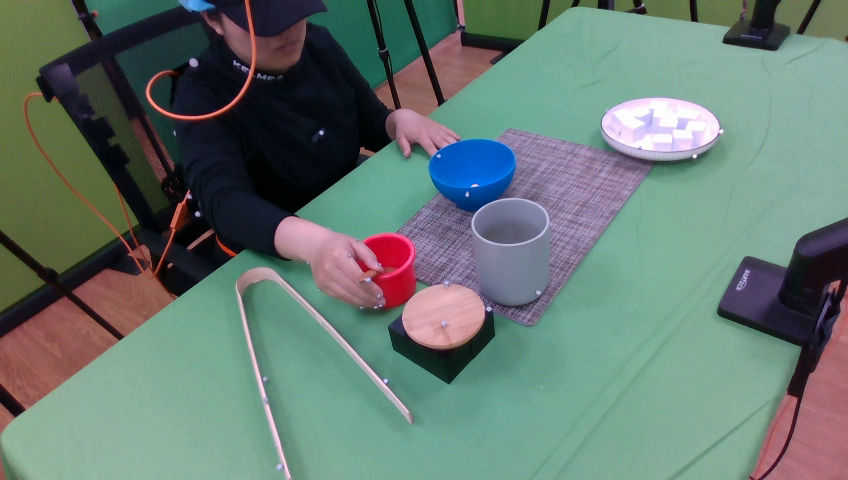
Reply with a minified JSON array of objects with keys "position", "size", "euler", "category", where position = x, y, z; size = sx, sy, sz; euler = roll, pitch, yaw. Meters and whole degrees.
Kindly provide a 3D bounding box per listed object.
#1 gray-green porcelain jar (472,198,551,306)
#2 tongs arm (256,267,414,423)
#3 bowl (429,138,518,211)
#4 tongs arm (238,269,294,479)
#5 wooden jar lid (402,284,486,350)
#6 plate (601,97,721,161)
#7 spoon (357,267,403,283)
[{"position":[0.125,0.021,0.850],"size":[0.106,0.127,0.105],"euler":[-6,40,5],"category":"gray-green porcelain jar"},{"position":[-0.137,0.132,0.853],"size":[0.028,0.028,0.384],"euler":[-34,45,-23],"category":"tongs arm"},{"position":[0.087,-0.104,1.043],"size":[0.151,0.077,0.150],"euler":[-5,40,5],"category":"bowl"},{"position":[-0.208,0.163,0.824],"size":[0.051,0.026,0.381],"euler":[-22,40,-15],"category":"tongs arm"},{"position":[0.026,0.101,0.786],"size":[0.108,0.021,0.108],"euler":[-5,39,4],"category":"wooden jar lid"},{"position":[0.437,-0.203,1.126],"size":[0.209,0.038,0.208],"euler":[-5,39,4],"category":"plate"},{"position":[-0.065,0.048,0.846],"size":[0.041,0.194,0.021],"euler":[10,89,9],"category":"spoon"}]
